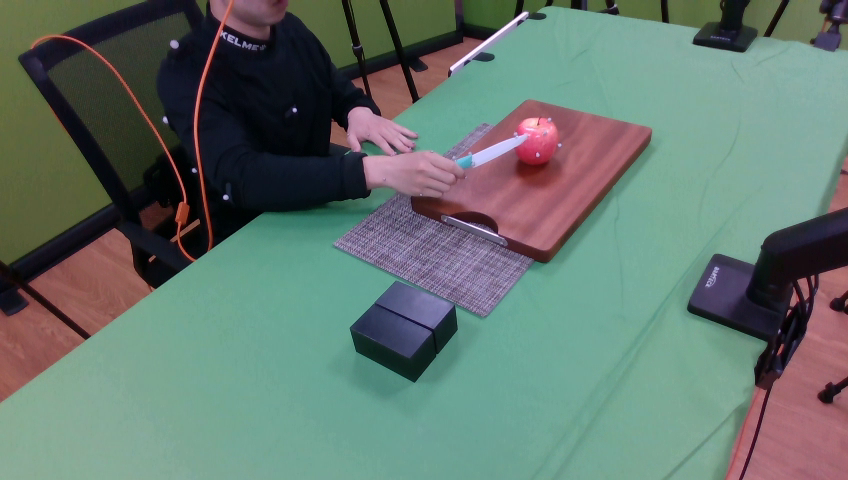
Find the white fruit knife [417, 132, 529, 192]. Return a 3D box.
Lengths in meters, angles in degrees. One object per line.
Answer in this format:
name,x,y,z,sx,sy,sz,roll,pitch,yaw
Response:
white fruit knife,0.075,-0.128,0.975,0.206,0.027,0.016,-23,31,21

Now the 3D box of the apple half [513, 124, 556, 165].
apple half,0.185,-0.157,1.041,0.081,0.081,0.033,14,41,23

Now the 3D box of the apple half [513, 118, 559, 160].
apple half,0.203,-0.180,1.067,0.080,0.075,0.053,12,40,27
